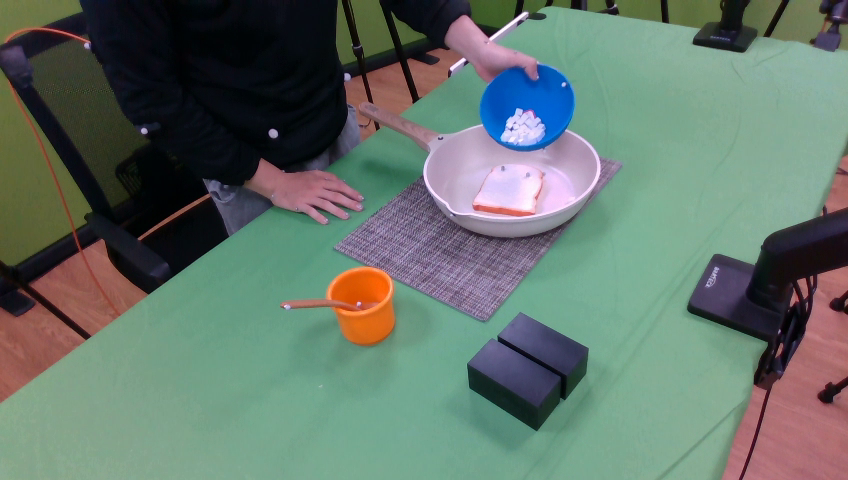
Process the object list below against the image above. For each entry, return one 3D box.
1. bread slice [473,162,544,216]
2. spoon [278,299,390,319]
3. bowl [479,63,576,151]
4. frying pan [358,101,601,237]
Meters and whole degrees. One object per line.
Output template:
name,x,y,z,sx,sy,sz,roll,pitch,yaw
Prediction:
bread slice,0.150,-0.088,1.042,0.106,0.018,0.134,7,45,16
spoon,-0.113,0.087,0.787,0.041,0.021,0.195,30,8,36
bowl,0.170,-0.202,0.984,0.151,0.077,0.151,-4,71,13
frying pan,0.067,-0.153,1.067,0.484,0.103,0.308,32,52,26
